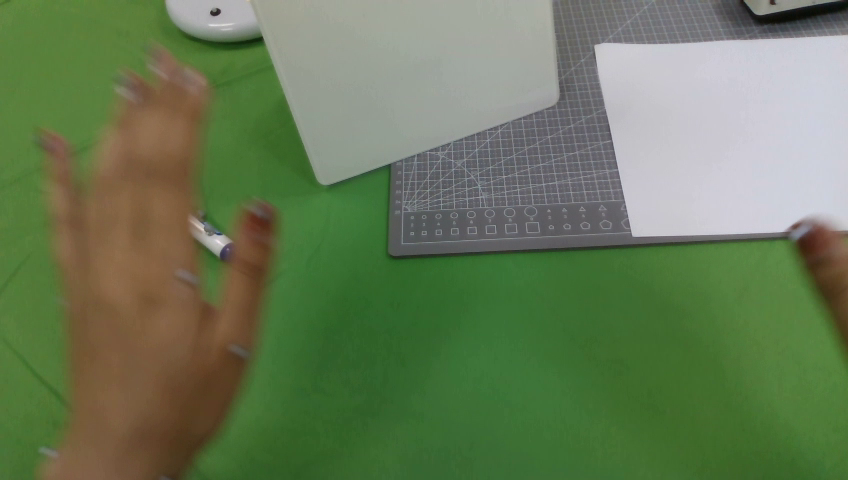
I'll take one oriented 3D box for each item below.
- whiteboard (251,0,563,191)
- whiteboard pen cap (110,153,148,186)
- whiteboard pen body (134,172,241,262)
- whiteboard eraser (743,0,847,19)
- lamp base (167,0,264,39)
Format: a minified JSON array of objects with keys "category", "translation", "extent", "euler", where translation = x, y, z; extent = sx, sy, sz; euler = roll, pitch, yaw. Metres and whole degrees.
[{"category":"whiteboard","translation":[-0.033,-0.231,0.463],"extent":[0.217,0.308,0.142],"euler":[-20,37,-7]},{"category":"whiteboard pen cap","translation":[-0.239,-0.056,0.496],"extent":[0.033,0.018,0.018],"euler":[35,65,19]},{"category":"whiteboard pen body","translation":[-0.194,-0.025,0.475],"extent":[0.140,0.017,0.017],"euler":[34,65,21]},{"category":"whiteboard eraser","translation":[0.346,-0.232,0.549],"extent":[0.113,0.042,0.055],"euler":[-10,57,-2]},{"category":"lamp base","translation":[-0.203,-0.313,0.574],"extent":[0.177,0.182,0.160],"euler":[33,65,27]}]
